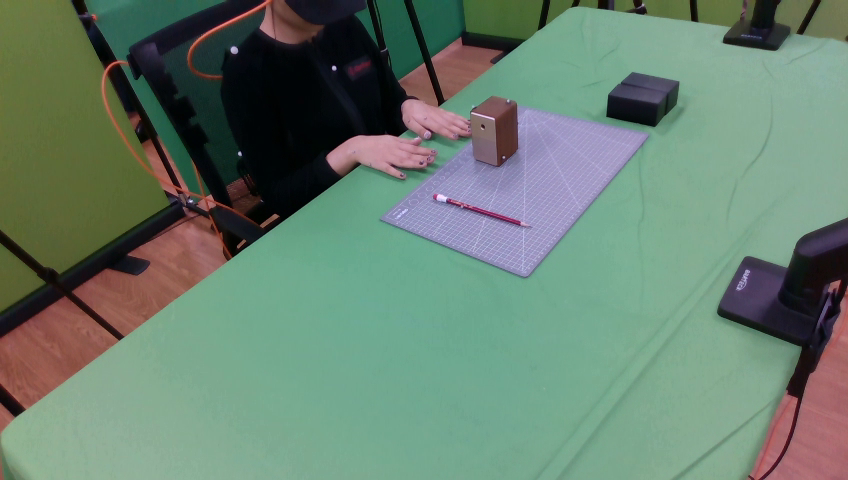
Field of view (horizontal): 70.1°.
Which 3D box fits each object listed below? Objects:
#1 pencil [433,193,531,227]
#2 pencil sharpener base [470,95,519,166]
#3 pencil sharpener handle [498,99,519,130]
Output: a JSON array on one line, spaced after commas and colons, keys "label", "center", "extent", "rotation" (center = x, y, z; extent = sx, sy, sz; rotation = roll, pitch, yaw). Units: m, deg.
[{"label": "pencil", "center": [0.096, -0.050, 1.028], "extent": [0.192, 0.012, 0.012], "rotation": [20, 49, 29]}, {"label": "pencil sharpener base", "center": [0.134, -0.205, 1.128], "extent": [0.061, 0.107, 0.077], "rotation": [23, 50, 34]}, {"label": "pencil sharpener handle", "center": [0.165, -0.243, 1.148], "extent": [0.035, 0.068, 0.031], "rotation": [22, 49, 35]}]
